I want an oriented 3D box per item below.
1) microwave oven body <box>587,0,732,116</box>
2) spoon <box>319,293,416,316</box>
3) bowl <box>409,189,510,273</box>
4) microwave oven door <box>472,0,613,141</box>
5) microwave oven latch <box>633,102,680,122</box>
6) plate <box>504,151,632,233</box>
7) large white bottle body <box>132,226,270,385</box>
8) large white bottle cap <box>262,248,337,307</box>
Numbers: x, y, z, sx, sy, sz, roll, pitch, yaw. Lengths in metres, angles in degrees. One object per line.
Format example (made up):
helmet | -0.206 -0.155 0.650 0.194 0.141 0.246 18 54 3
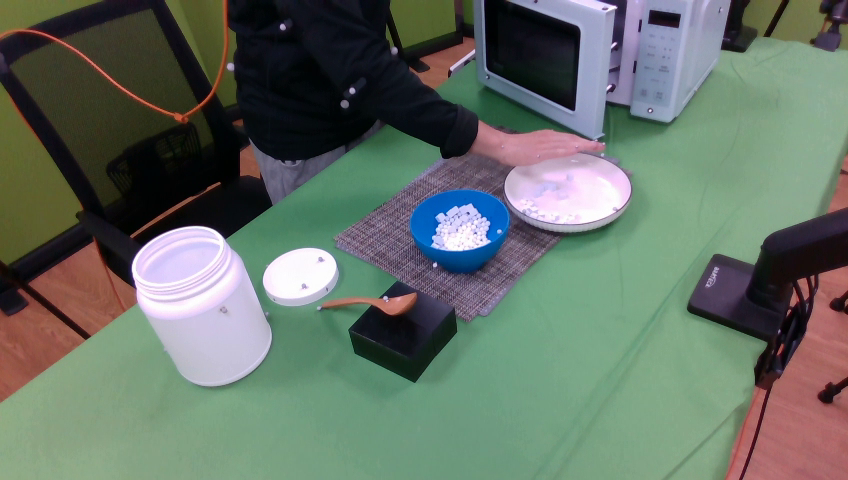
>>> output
microwave oven body | 0.377 -0.463 1.267 0.438 0.261 0.327 21 48 30
spoon | -0.082 0.086 0.826 0.192 0.022 0.041 -3 37 41
bowl | 0.055 -0.003 0.915 0.151 0.077 0.150 -4 40 4
microwave oven door | 0.216 -0.367 1.171 0.039 0.245 0.352 -28 45 -23
microwave oven latch | 0.443 -0.249 1.157 0.078 0.029 0.030 21 49 30
plate | 0.236 -0.077 1.007 0.209 0.038 0.208 -3 41 3
large white bottle body | -0.286 0.085 0.784 0.130 0.185 0.130 -4 41 4
large white bottle cap | -0.193 0.056 0.934 0.115 0.018 0.114 -4 41 4
